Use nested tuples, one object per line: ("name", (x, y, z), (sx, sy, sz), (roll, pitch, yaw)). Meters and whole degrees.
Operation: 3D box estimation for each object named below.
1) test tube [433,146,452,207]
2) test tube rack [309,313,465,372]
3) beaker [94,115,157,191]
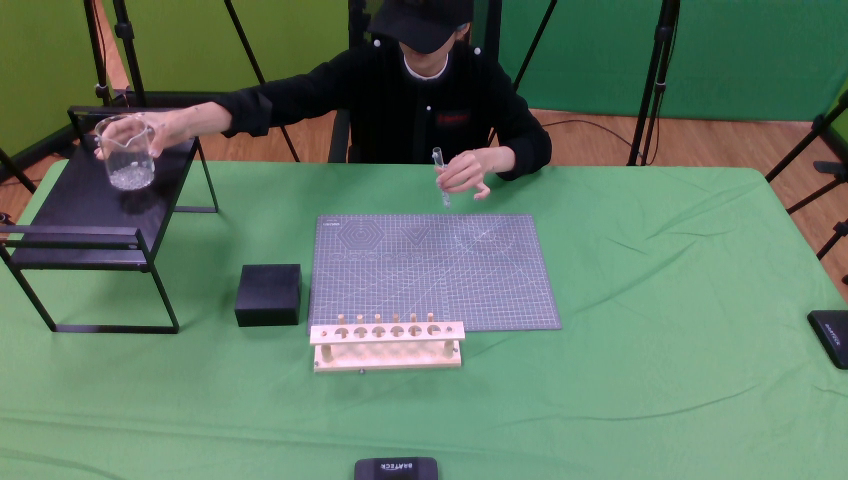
("test tube", (0.036, -0.115, 1.133), (0.017, 0.151, 0.017), (-6, 50, 8))
("test tube rack", (-0.059, 0.161, 0.990), (0.242, 0.085, 0.066), (-1, 46, -5))
("beaker", (-0.466, -0.133, 0.956), (0.074, 0.101, 0.083), (-13, 45, -22))
